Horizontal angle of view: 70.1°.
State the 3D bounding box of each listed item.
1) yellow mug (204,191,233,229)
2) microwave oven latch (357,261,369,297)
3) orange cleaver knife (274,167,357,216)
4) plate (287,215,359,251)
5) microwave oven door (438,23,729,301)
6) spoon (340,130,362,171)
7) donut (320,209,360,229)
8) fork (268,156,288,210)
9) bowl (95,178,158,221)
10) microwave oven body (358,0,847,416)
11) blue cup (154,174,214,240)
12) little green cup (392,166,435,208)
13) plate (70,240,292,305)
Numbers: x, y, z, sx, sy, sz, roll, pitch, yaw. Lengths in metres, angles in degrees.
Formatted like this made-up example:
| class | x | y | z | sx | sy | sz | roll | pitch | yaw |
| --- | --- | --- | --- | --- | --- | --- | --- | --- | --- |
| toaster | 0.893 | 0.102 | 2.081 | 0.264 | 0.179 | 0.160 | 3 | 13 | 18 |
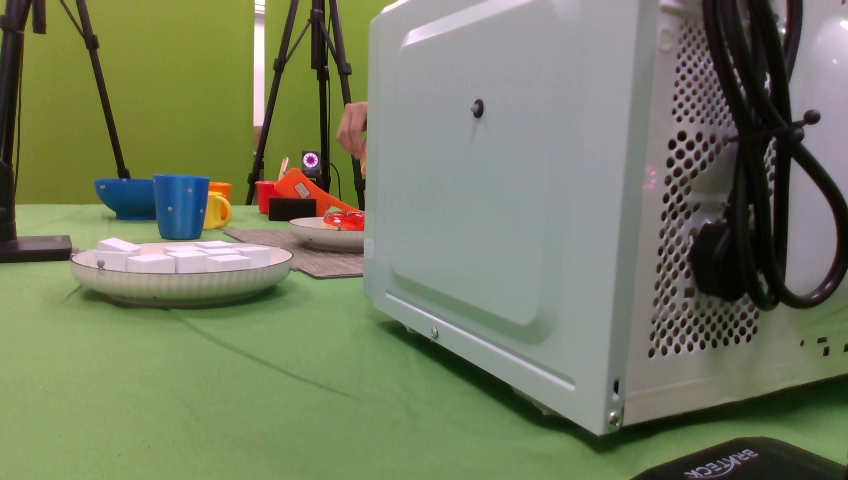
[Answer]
| class | x | y | z | sx | sy | sz | roll | pitch | yaw |
| --- | --- | --- | --- | --- | --- | --- | --- | --- | --- |
| yellow mug | -0.415 | -0.057 | 1.132 | 0.130 | 0.064 | 0.100 | 6 | 8 | 16 |
| microwave oven latch | -0.019 | 0.033 | 0.531 | 0.079 | 0.029 | 0.030 | -1 | 7 | -27 |
| orange cleaver knife | -0.238 | -0.090 | 1.381 | 0.212 | 0.077 | 0.012 | 31 | 0 | -19 |
| plate | -0.112 | -0.012 | 0.960 | 0.209 | 0.038 | 0.209 | 3 | 8 | 0 |
| microwave oven door | 0.181 | -0.072 | 0.620 | 0.358 | 0.243 | 0.039 | -2 | 8 | -29 |
| spoon | -0.106 | -0.147 | 1.009 | 0.042 | 0.021 | 0.193 | 0 | 34 | -27 |
| donut | -0.115 | -0.023 | 0.961 | 0.099 | 0.048 | 0.099 | 5 | 8 | 0 |
| fork | -0.360 | -0.144 | 1.508 | 0.028 | 0.018 | 0.207 | 2 | 49 | 0 |
| bowl | -0.576 | -0.081 | 1.217 | 0.151 | 0.077 | 0.151 | 3 | 8 | 0 |
| microwave oven body | 0.211 | -0.047 | 0.474 | 0.444 | 0.260 | 0.324 | -1 | 7 | -28 |
| blue cup | -0.390 | -0.053 | 0.978 | 0.093 | 0.100 | 0.092 | 3 | 6 | 0 |
| little green cup | -0.015 | -0.080 | 0.935 | 0.061 | 0.038 | 0.061 | -33 | -11 | -7 |
| plate | -0.242 | 0.031 | 0.618 | 0.208 | 0.039 | 0.207 | 2 | 8 | 0 |
